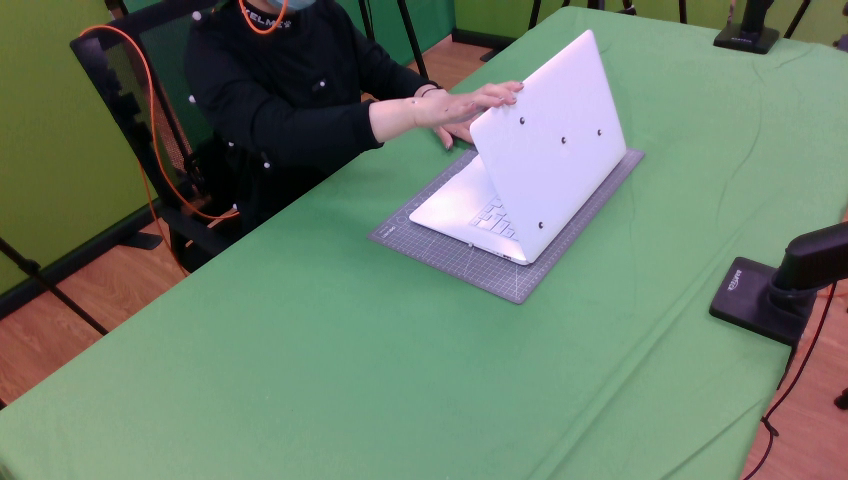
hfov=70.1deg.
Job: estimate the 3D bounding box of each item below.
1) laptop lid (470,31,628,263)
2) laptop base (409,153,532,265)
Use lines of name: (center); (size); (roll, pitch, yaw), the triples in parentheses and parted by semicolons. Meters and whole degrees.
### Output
laptop lid: (0.214, -0.157, 0.947); (0.013, 0.243, 0.358); (-1, 32, 47)
laptop base: (0.168, -0.095, 1.057); (0.233, 0.023, 0.355); (20, 47, 32)
